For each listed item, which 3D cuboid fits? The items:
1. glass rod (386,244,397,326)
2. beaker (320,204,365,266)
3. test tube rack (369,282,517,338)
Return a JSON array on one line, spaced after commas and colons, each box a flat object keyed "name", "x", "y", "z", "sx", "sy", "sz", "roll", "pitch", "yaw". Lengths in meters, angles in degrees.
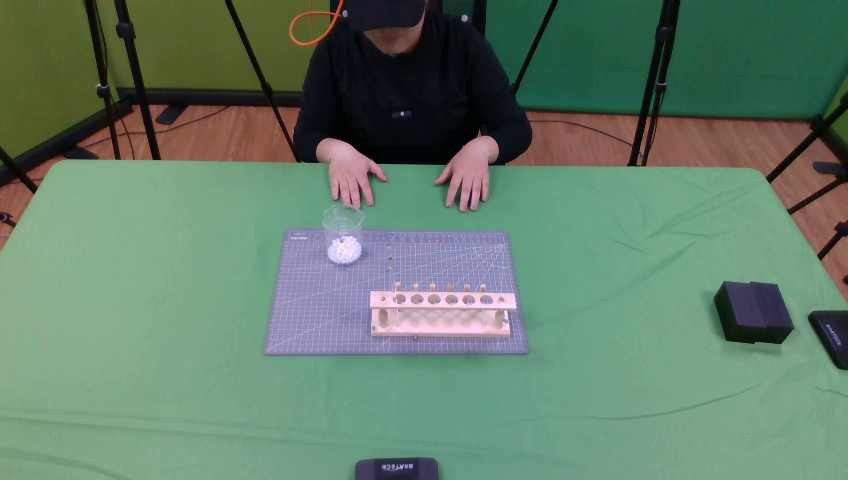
[{"name": "glass rod", "x": -0.052, "y": 0.078, "z": 0.980, "sx": 0.008, "sy": 0.201, "sz": 0.008, "roll": -1, "pitch": 45, "yaw": 1}, {"name": "beaker", "x": -0.151, "y": -0.008, "z": 1.138, "sx": 0.084, "sy": 0.101, "sz": 0.073, "roll": -12, "pitch": 49, "yaw": -16}, {"name": "test tube rack", "x": 0.030, "y": 0.116, "z": 1.041, "sx": 0.242, "sy": 0.085, "sz": 0.066, "roll": 1, "pitch": 46, "yaw": -3}]
